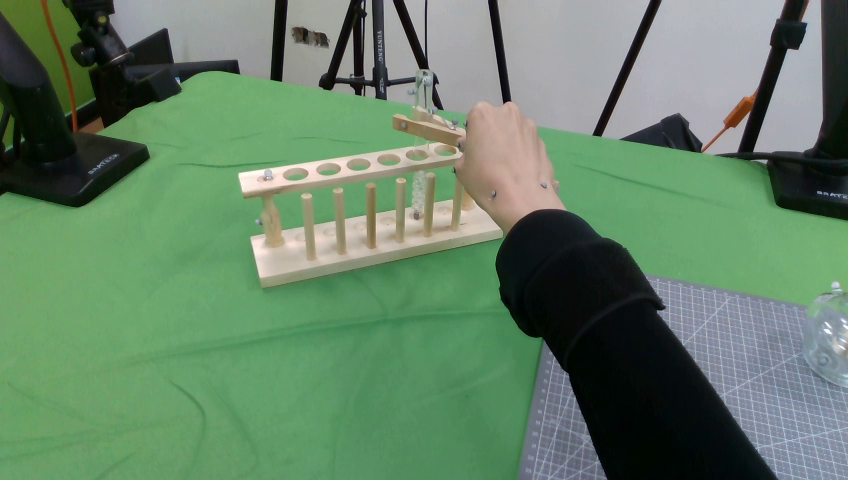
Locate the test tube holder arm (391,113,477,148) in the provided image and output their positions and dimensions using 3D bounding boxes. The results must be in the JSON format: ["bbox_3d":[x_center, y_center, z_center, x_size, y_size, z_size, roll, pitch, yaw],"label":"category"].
[{"bbox_3d":[0.009,-0.099,0.542,0.087,0.015,0.010,17,45,24],"label":"test tube holder arm"}]

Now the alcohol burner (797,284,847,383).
[{"bbox_3d":[0.337,0.052,0.462,0.078,0.120,0.077,1,37,0],"label":"alcohol burner"}]

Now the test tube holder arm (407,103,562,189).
[{"bbox_3d":[0.046,-0.085,0.522,0.013,0.015,0.176,-34,48,-29],"label":"test tube holder arm"}]

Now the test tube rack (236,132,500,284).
[{"bbox_3d":[-0.046,-0.035,0.582,0.243,0.086,0.066,-12,40,-17],"label":"test tube rack"}]

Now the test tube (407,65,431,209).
[{"bbox_3d":[-0.006,-0.092,0.576,0.017,0.151,0.017,3,39,-2],"label":"test tube"}]
